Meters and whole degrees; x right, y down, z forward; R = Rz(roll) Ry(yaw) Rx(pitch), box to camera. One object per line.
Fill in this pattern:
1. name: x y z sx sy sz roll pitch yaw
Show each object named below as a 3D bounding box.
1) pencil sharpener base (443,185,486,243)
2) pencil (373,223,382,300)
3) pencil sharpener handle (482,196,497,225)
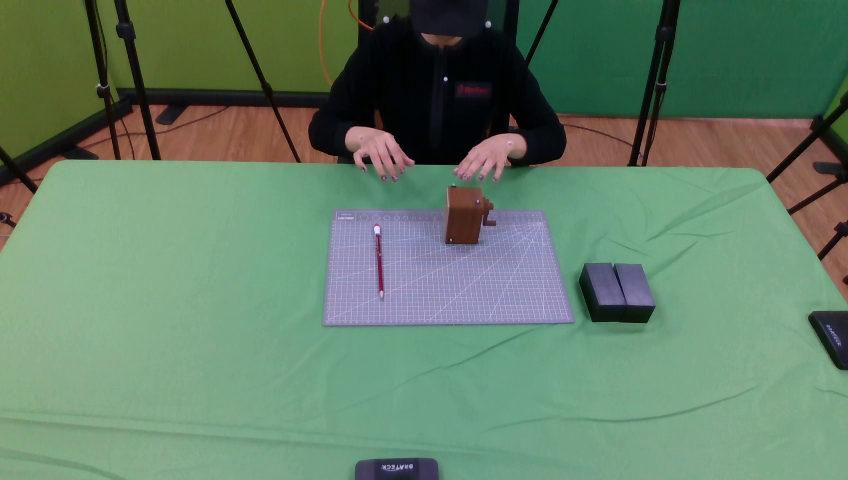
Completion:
1. pencil sharpener base: 0.078 -0.049 1.188 0.077 0.107 0.061 1 46 -3
2. pencil: -0.088 0.038 1.160 0.012 0.012 0.192 -2 47 -6
3. pencil sharpener handle: 0.130 -0.056 1.182 0.031 0.068 0.036 1 43 -3
